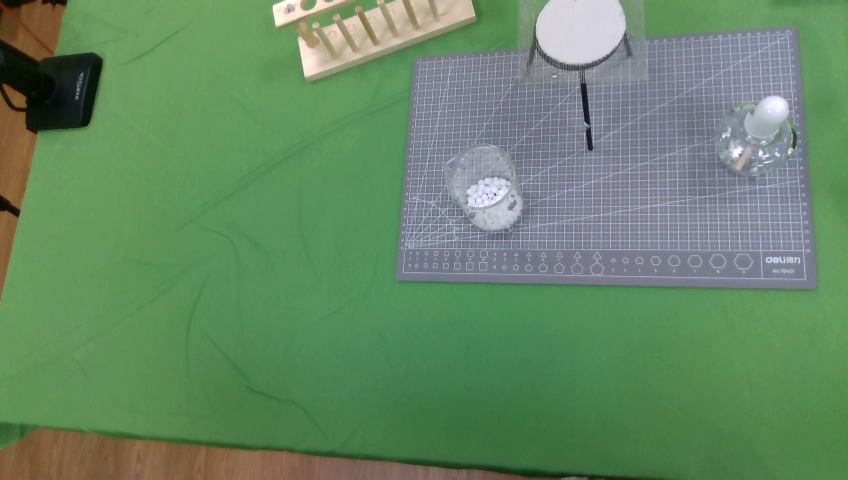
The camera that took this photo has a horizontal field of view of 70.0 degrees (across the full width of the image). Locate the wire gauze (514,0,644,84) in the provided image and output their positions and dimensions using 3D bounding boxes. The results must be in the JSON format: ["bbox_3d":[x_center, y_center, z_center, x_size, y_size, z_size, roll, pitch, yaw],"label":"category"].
[{"bbox_3d":[0.151,-0.213,0.600,0.125,0.011,0.121,0,78,15],"label":"wire gauze"}]

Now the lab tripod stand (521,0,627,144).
[{"bbox_3d":[0.169,-0.196,0.664,0.148,0.132,0.147,-3,76,13],"label":"lab tripod stand"}]

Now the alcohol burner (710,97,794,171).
[{"bbox_3d":[0.333,-0.114,0.608,0.078,0.120,0.077,-3,75,13],"label":"alcohol burner"}]

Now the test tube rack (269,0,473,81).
[{"bbox_3d":[-0.067,-0.294,0.782,0.242,0.086,0.066,-17,72,11],"label":"test tube rack"}]

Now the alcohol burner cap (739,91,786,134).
[{"bbox_3d":[0.323,-0.124,0.574,0.034,0.048,0.033,-2,79,12],"label":"alcohol burner cap"}]

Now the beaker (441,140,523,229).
[{"bbox_3d":[0.068,-0.058,0.675,0.083,0.101,0.074,20,82,21],"label":"beaker"}]
